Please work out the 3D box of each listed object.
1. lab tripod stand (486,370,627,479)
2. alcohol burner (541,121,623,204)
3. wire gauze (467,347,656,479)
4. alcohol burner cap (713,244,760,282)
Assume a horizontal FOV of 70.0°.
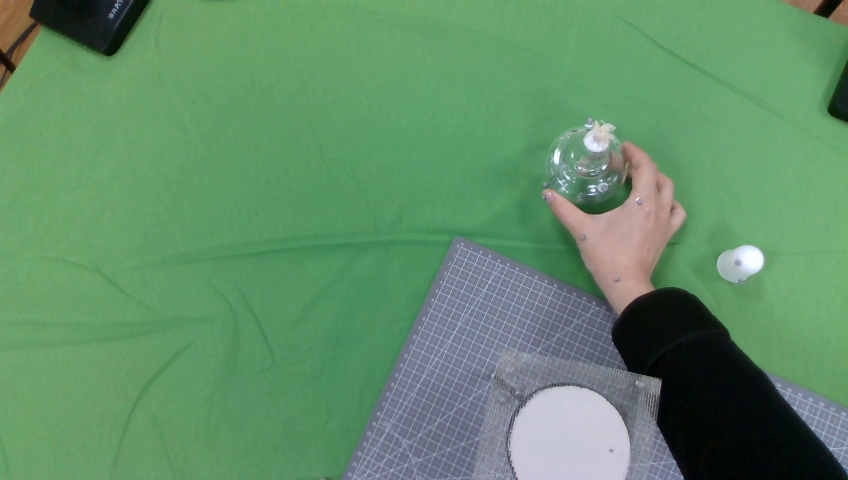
[{"bbox_3d":[0.106,0.165,0.500,0.148,0.132,0.148,0,80,3],"label":"lab tripod stand"},{"bbox_3d":[0.149,-0.076,0.557,0.078,0.119,0.077,-1,76,3],"label":"alcohol burner"},{"bbox_3d":[0.098,0.148,0.435,0.121,0.011,0.124,11,81,5],"label":"wire gauze"},{"bbox_3d":[0.294,0.020,0.565,0.034,0.048,0.033,-1,78,7],"label":"alcohol burner cap"}]
